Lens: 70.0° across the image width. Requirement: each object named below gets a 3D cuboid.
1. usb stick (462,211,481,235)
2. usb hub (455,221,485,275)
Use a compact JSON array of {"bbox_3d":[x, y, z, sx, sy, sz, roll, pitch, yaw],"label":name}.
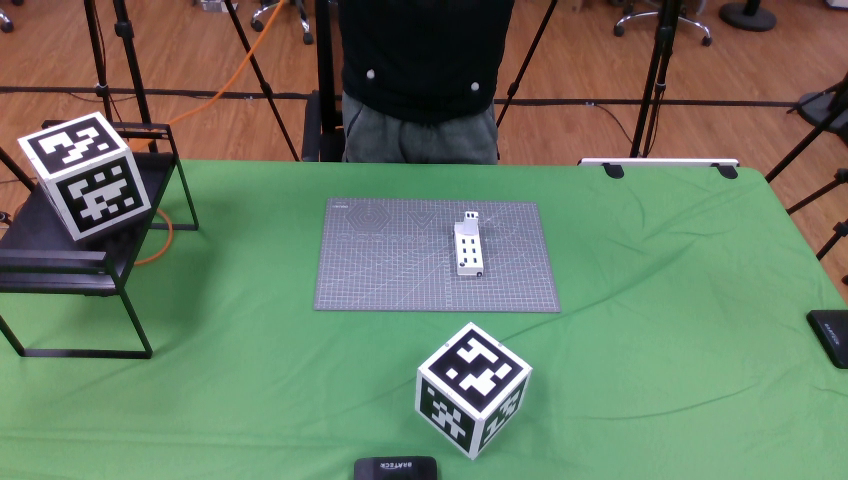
[{"bbox_3d":[0.092,-0.037,1.168,0.027,0.059,0.021,-24,61,-19],"label":"usb stick"},{"bbox_3d":[0.088,0.014,1.178,0.049,0.025,0.124,0,46,-3],"label":"usb hub"}]
